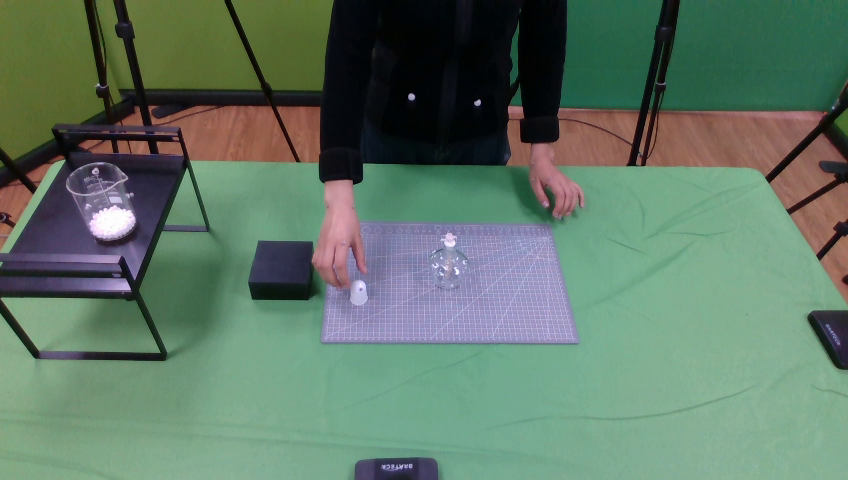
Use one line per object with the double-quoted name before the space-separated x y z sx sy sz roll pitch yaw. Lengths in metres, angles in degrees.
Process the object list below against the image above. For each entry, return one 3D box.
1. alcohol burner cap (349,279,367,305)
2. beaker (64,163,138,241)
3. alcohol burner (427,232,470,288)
"alcohol burner cap" -0.117 0.089 1.082 0.034 0.048 0.033 3 48 -3
"beaker" -0.477 -0.055 0.910 0.084 0.101 0.073 -9 48 -13
"alcohol burner" 0.045 0.032 1.099 0.078 0.120 0.077 0 46 0
